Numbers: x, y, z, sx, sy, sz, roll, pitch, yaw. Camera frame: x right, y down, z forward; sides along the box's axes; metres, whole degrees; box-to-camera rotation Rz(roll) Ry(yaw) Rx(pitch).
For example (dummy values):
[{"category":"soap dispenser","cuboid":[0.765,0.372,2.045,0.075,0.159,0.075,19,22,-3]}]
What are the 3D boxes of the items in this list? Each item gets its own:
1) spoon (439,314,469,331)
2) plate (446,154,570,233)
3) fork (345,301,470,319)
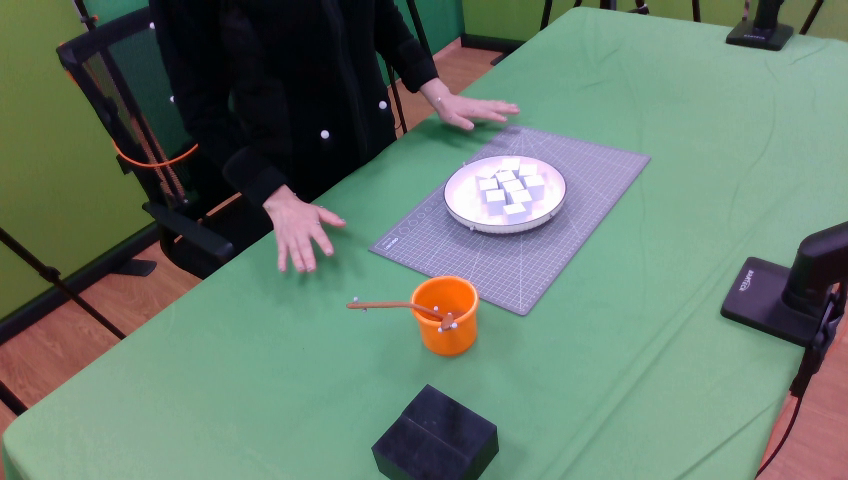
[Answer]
[{"category":"spoon","cuboid":[0.033,0.101,0.760,0.041,0.194,0.021,0,83,7]},{"category":"plate","cuboid":[0.142,-0.076,1.032,0.207,0.039,0.206,-5,40,5]},{"category":"fork","cuboid":[-0.017,0.090,0.776,0.209,0.018,0.028,14,-1,-44]}]
